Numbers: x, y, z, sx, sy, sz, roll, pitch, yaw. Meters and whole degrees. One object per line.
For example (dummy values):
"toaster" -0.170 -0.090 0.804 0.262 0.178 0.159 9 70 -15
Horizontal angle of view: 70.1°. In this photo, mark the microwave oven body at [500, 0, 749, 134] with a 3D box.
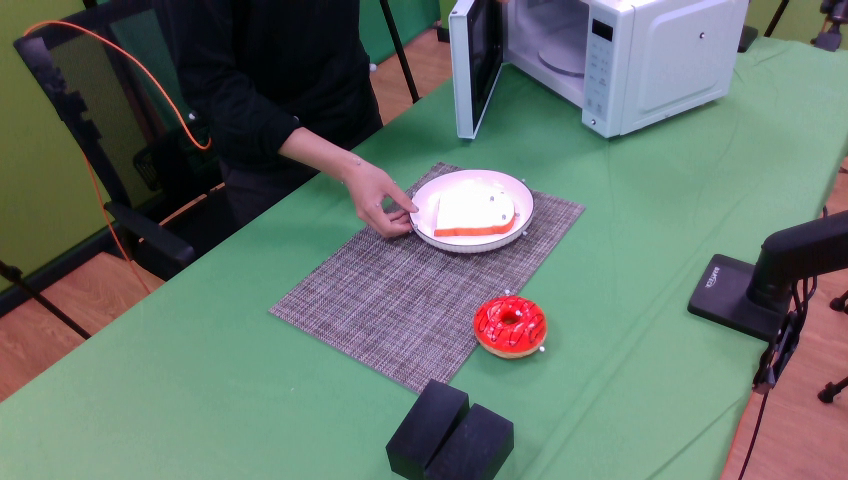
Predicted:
"microwave oven body" 0.382 -0.444 1.246 0.327 0.261 0.437 -22 42 -16

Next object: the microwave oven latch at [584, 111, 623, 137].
"microwave oven latch" 0.337 -0.222 1.142 0.030 0.029 0.078 -21 42 -14

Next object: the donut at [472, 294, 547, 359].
"donut" 0.114 0.114 0.803 0.099 0.048 0.098 0 40 1

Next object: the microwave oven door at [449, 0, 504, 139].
"microwave oven door" 0.113 -0.404 1.229 0.039 0.245 0.355 6 42 15

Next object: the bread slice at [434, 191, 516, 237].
"bread slice" 0.086 -0.046 0.996 0.131 0.019 0.104 -1 42 7

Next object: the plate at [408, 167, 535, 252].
"plate" 0.078 -0.047 0.996 0.207 0.039 0.206 -4 41 4
